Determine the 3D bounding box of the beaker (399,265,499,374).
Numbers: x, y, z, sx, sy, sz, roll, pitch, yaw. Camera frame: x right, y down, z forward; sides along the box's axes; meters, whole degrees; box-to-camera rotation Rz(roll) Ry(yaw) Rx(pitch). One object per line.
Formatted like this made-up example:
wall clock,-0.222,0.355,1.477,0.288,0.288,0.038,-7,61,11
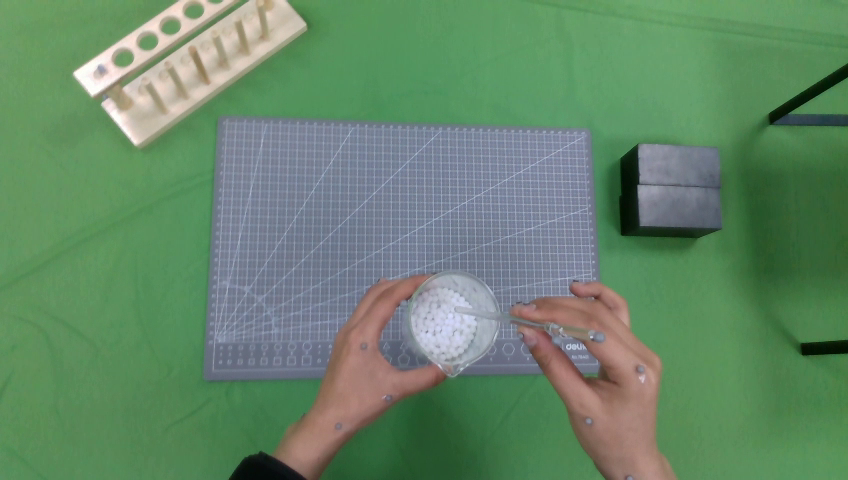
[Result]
beaker,0.017,0.070,0.514,0.074,0.100,0.083,2,79,-6

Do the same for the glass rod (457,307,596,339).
glass rod,0.061,0.056,0.424,0.008,0.199,0.008,1,87,-18

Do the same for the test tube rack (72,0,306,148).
test tube rack,-0.251,-0.214,0.677,0.242,0.085,0.066,-40,85,-12
